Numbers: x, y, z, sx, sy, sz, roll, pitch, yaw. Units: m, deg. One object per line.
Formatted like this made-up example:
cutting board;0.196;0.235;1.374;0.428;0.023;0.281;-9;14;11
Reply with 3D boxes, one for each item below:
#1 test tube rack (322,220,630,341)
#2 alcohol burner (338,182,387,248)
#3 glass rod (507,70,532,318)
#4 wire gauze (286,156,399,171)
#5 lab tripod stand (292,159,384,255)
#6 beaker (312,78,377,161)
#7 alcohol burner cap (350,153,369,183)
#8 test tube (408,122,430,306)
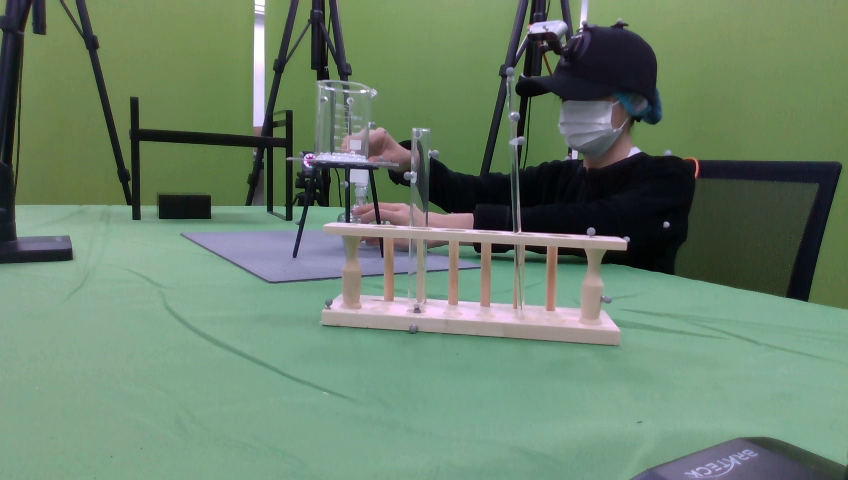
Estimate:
test tube rack;0.041;0.029;0.512;0.242;0.085;0.067;3;7;5
alcohol burner;-0.098;-0.048;0.954;0.078;0.119;0.078;0;7;0
glass rod;0.076;-0.031;0.476;0.008;0.199;0.008;-6;12;2
wire gauze;-0.101;-0.103;0.788;0.121;0.011;0.125;5;4;6
lab tripod stand;-0.105;-0.039;0.797;0.148;0.131;0.148;2;5;0
beaker;-0.103;-0.151;0.776;0.084;0.100;0.074;5;7;14
alcohol burner cap;-0.100;-0.113;0.950;0.034;0.048;0.034;5;3;0
test tube;-0.004;-0.019;0.489;0.017;0.150;0.017;1;11;0
